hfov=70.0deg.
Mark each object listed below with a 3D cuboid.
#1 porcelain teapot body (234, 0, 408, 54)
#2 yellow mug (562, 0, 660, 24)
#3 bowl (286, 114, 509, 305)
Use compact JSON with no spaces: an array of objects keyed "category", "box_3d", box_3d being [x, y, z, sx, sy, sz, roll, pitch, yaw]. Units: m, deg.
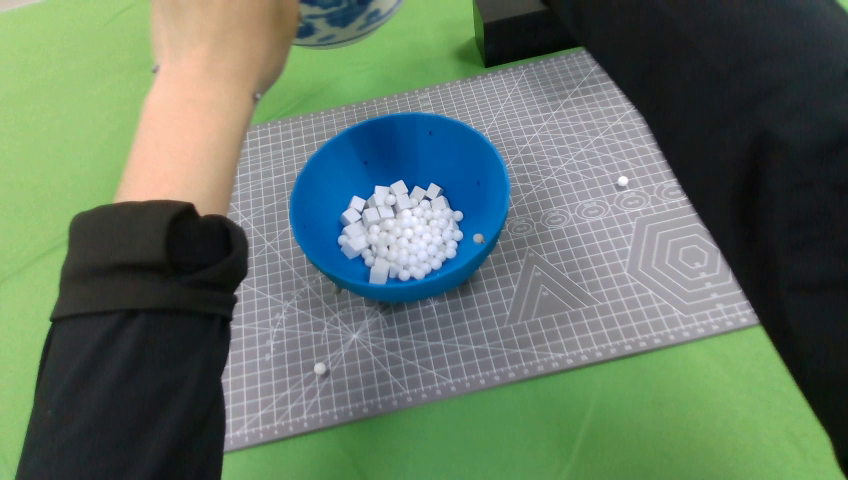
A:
[{"category":"porcelain teapot body","box_3d":[-0.116,-0.248,0.409,0.205,0.227,0.144,-1,63,4]},{"category":"yellow mug","box_3d":[0.161,-0.239,0.517,0.099,0.064,0.130,16,61,18]},{"category":"bowl","box_3d":[-0.014,-0.009,0.435,0.151,0.077,0.150,-3,55,5]}]
